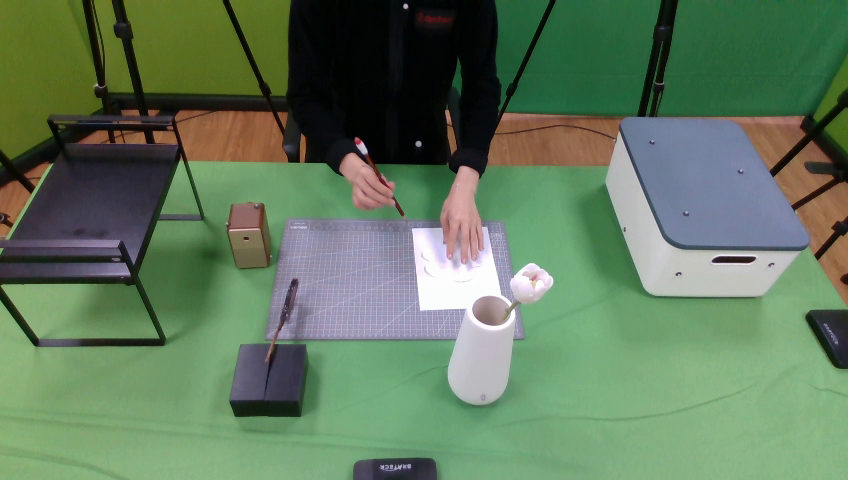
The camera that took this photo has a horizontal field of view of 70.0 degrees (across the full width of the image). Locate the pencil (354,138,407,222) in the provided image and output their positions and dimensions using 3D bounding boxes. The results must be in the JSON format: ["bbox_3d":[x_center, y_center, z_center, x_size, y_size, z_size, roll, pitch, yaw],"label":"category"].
[{"bbox_3d":[-0.073,-0.102,1.070,0.012,0.195,0.012,-20,37,16],"label":"pencil"}]

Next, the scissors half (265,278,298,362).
[{"bbox_3d":[-0.234,0.127,0.993,0.013,0.040,0.174,12,46,-3],"label":"scissors half"}]

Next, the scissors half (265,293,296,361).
[{"bbox_3d":[-0.239,0.143,1.005,0.013,0.040,0.174,17,28,-6],"label":"scissors half"}]

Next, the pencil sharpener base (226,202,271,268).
[{"bbox_3d":[-0.323,-0.010,1.123,0.061,0.107,0.076,-3,46,-6],"label":"pencil sharpener base"}]

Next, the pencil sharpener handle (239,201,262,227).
[{"bbox_3d":[-0.325,-0.055,1.150,0.036,0.068,0.030,-13,46,3],"label":"pencil sharpener handle"}]

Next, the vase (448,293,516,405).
[{"bbox_3d":[0.091,0.169,0.921,0.098,0.201,0.097,3,47,-3],"label":"vase"}]

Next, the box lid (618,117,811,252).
[{"bbox_3d":[0.534,-0.117,1.148,0.263,0.015,0.369,0,47,-3],"label":"box lid"}]

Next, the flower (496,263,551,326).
[{"bbox_3d":[0.102,0.120,0.853,0.044,0.363,0.038,-2,64,-10],"label":"flower"}]

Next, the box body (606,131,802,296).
[{"bbox_3d":[0.530,-0.067,1.204,0.254,0.161,0.361,0,46,-4],"label":"box body"}]
